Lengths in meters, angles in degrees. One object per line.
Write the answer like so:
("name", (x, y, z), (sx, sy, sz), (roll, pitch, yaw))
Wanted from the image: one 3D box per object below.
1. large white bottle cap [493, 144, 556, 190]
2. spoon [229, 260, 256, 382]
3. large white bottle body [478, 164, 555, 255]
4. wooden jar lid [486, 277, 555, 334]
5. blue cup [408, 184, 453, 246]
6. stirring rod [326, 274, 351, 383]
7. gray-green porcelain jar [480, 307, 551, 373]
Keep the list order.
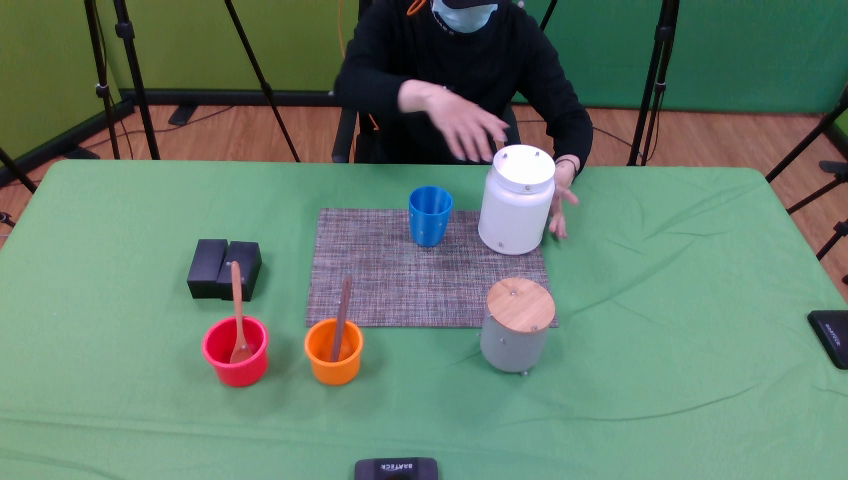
("large white bottle cap", (0.183, -0.134, 1.102), (0.115, 0.018, 0.114), (2, 47, -2))
("spoon", (-0.294, 0.129, 0.966), (0.042, 0.021, 0.193), (-4, 91, -9))
("large white bottle body", (0.178, -0.076, 1.163), (0.131, 0.185, 0.130), (2, 46, -2))
("wooden jar lid", (0.150, 0.105, 0.948), (0.108, 0.021, 0.107), (3, 47, -3))
("blue cup", (0.008, -0.043, 1.177), (0.093, 0.101, 0.092), (3, 47, -3))
("stirring rod", (-0.137, 0.142, 0.971), (0.014, 0.006, 0.176), (9, 88, 1))
("gray-green porcelain jar", (0.148, 0.148, 0.992), (0.106, 0.127, 0.105), (2, 46, -2))
